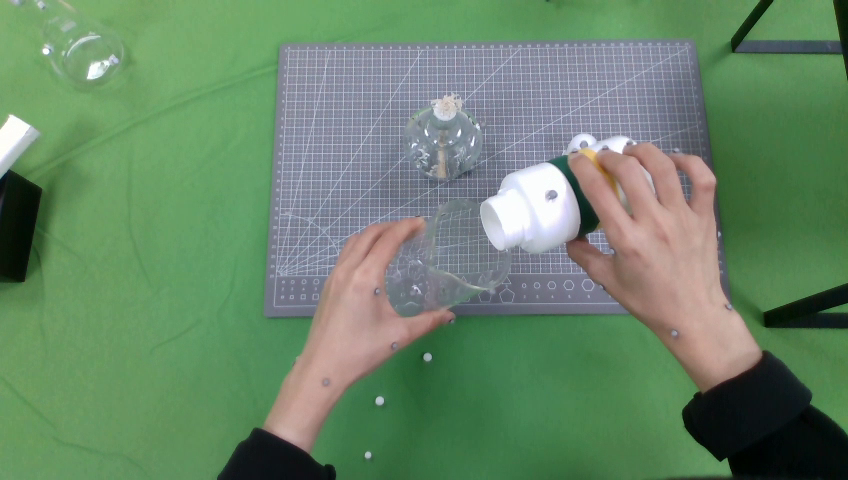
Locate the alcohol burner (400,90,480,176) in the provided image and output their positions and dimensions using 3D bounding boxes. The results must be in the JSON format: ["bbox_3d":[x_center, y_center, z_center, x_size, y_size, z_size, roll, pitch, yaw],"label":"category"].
[{"bbox_3d":[0.016,-0.106,0.571,0.078,0.119,0.077,0,74,-1],"label":"alcohol burner"}]

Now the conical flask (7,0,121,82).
[{"bbox_3d":[-0.366,-0.218,0.602,0.075,0.122,0.075,0,74,1],"label":"conical flask"}]

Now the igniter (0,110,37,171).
[{"bbox_3d":[-0.456,-0.003,0.547,0.057,0.025,0.276,29,76,17],"label":"igniter"}]

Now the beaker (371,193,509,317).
[{"bbox_3d":[0.007,0.018,0.490,0.084,0.100,0.074,-29,86,-41],"label":"beaker"}]

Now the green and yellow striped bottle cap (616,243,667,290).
[{"bbox_3d":[0.211,0.025,0.586,0.045,0.020,0.045,0,76,0],"label":"green and yellow striped bottle cap"}]

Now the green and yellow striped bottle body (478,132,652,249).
[{"bbox_3d":[0.101,-0.033,0.447,0.120,0.063,0.063,-20,75,-15],"label":"green and yellow striped bottle body"}]

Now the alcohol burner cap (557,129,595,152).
[{"bbox_3d":[0.154,-0.093,0.604,0.034,0.048,0.033,0,75,0],"label":"alcohol burner cap"}]
